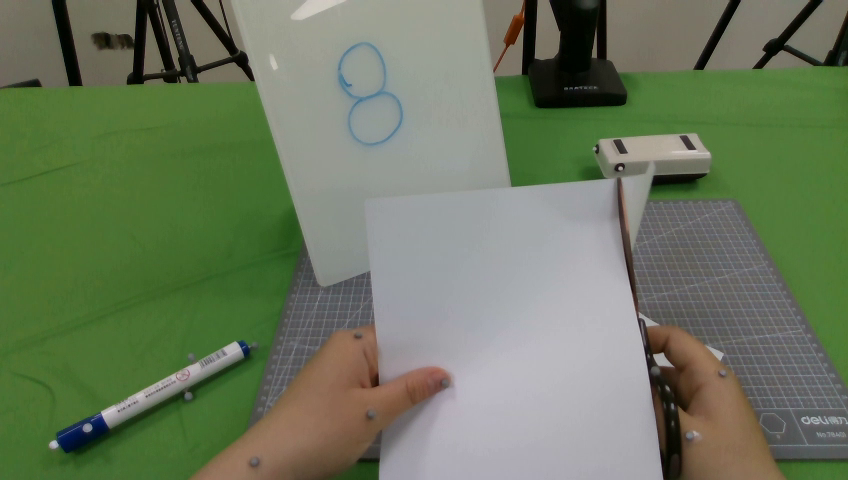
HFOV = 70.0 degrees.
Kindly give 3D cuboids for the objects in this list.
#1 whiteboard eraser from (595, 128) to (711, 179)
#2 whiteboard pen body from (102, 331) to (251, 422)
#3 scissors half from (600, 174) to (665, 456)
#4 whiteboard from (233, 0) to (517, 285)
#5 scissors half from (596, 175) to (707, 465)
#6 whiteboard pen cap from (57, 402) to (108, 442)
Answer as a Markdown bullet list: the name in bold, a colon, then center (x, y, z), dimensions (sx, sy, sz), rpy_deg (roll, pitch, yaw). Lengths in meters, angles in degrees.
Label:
- **whiteboard eraser**: center (0.250, -0.095, 0.667), dimensions (0.113, 0.042, 0.055), rpy_deg (-2, 43, 0)
- **whiteboard pen body**: center (-0.201, 0.109, 0.470), dimensions (0.141, 0.017, 0.017), rpy_deg (-28, 47, -28)
- **scissors half**: center (0.123, 0.046, 0.374), dimensions (0.013, 0.175, 0.040), rpy_deg (-10, 2, -20)
- **whiteboard**: center (-0.056, -0.149, 0.592), dimensions (0.217, 0.307, 0.142), rpy_deg (-20, 23, -18)
- **scissors half**: center (0.128, 0.041, 0.354), dimensions (0.013, 0.040, 0.174), rpy_deg (-11, 73, -14)
- **whiteboard pen cap**: center (-0.248, 0.132, 0.443), dimensions (0.033, 0.018, 0.018), rpy_deg (-28, 47, -28)
